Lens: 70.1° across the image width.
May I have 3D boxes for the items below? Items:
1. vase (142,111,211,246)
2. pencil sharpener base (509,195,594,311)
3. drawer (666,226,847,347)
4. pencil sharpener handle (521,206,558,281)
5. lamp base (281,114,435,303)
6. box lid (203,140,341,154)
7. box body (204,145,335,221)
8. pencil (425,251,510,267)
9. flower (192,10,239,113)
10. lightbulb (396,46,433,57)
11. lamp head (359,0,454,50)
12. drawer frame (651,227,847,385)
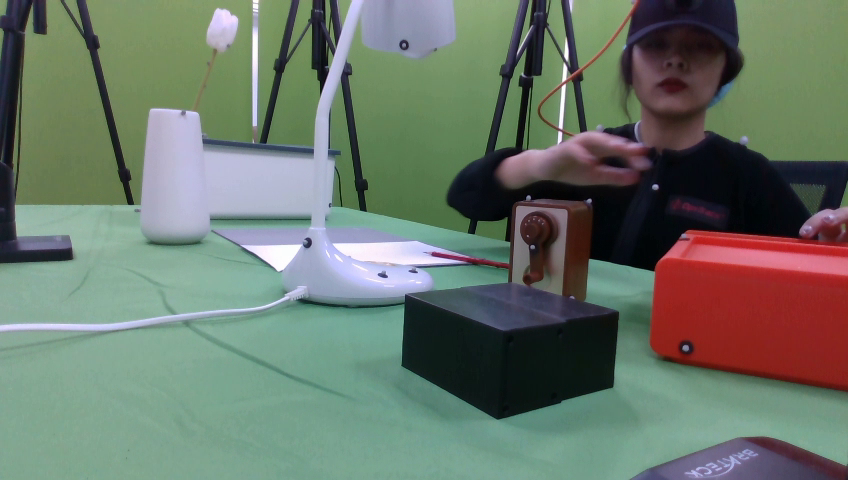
[{"bbox_3d":[-0.378,-0.093,0.920,0.098,0.200,0.098,2,9,0],"label":"vase"},{"bbox_3d":[0.126,0.011,0.602,0.061,0.107,0.077,7,9,31],"label":"pencil sharpener base"},{"bbox_3d":[0.342,0.037,0.571,0.194,0.073,0.212,6,10,26],"label":"drawer"},{"bbox_3d":[0.101,0.003,0.556,0.036,0.067,0.031,0,5,32],"label":"pencil sharpener handle"},{"bbox_3d":[-0.071,-0.035,0.614,0.160,0.180,0.180,6,10,27],"label":"lamp base"},{"bbox_3d":[-0.396,-0.212,1.373,0.373,0.015,0.262,-1,9,-29],"label":"box lid"},{"bbox_3d":[-0.411,-0.135,1.386,0.366,0.160,0.253,-2,9,-29],"label":"box body"},{"bbox_3d":[0.076,0.027,0.839,0.193,0.012,0.012,8,9,38],"label":"pencil"},{"bbox_3d":[-0.354,-0.174,0.915,0.038,0.361,0.044,18,-3,12],"label":"flower"},{"bbox_3d":[-0.018,-0.265,0.692,0.059,0.108,0.059,-10,27,6],"label":"lightbulb"},{"bbox_3d":[-0.024,-0.283,0.674,0.112,0.123,0.112,-3,38,3],"label":"lamp head"},{"bbox_3d":[0.304,0.043,0.493,0.201,0.082,0.214,6,9,26],"label":"drawer frame"}]
